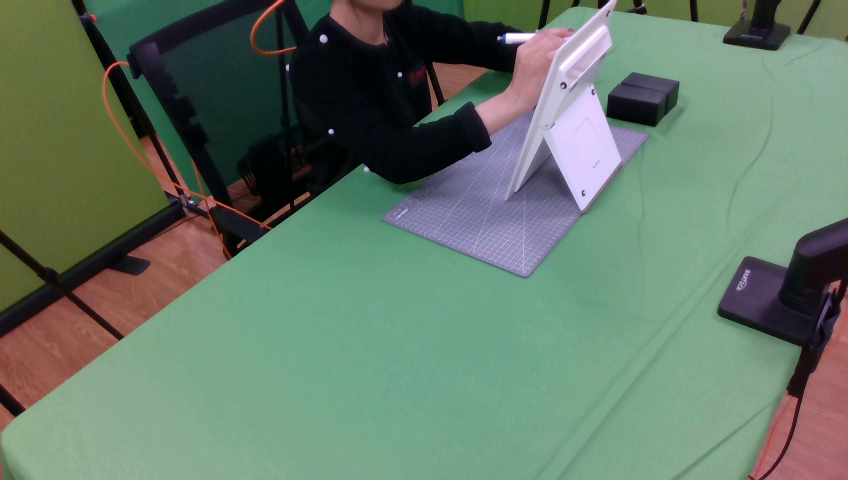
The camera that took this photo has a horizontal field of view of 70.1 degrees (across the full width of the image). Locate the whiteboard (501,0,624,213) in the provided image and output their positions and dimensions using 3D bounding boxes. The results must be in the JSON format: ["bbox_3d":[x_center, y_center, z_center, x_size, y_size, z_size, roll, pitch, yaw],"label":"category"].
[{"bbox_3d":[0.271,-0.189,0.977,0.143,0.306,0.218,34,53,16],"label":"whiteboard"}]

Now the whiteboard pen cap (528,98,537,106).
[{"bbox_3d":[0.239,-0.293,1.288,0.033,0.018,0.018,23,50,35],"label":"whiteboard pen cap"}]

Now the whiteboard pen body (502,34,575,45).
[{"bbox_3d":[0.199,-0.329,0.991,0.140,0.017,0.017,2,42,7],"label":"whiteboard pen body"}]
